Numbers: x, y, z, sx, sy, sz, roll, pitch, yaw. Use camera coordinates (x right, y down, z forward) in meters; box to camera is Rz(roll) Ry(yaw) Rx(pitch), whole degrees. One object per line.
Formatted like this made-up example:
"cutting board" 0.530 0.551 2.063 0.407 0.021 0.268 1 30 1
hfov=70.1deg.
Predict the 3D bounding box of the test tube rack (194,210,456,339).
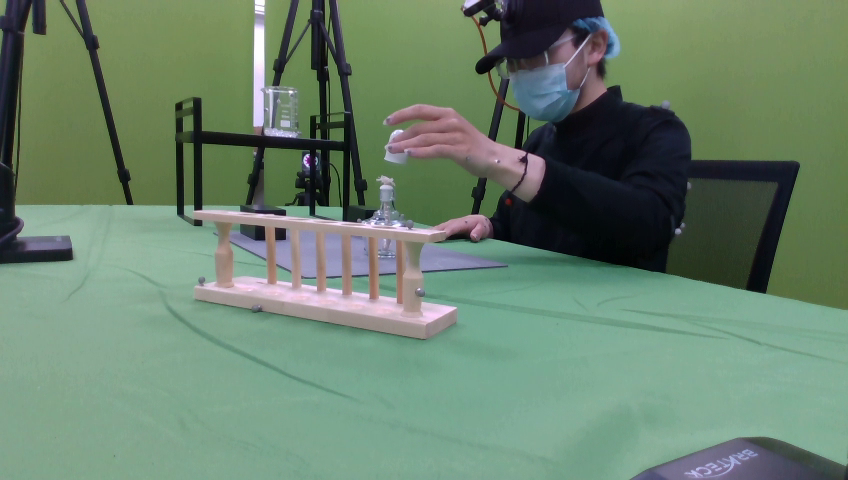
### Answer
"test tube rack" -0.093 0.023 0.545 0.241 0.085 0.067 6 8 25

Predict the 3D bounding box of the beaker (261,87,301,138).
"beaker" -0.298 -0.263 1.255 0.084 0.100 0.073 -5 10 -40

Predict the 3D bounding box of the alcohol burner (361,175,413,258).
"alcohol burner" -0.054 -0.033 0.871 0.078 0.119 0.078 1 8 0

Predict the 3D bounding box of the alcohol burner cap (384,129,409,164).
"alcohol burner cap" -0.037 -0.133 0.850 0.034 0.048 0.034 11 17 -3
